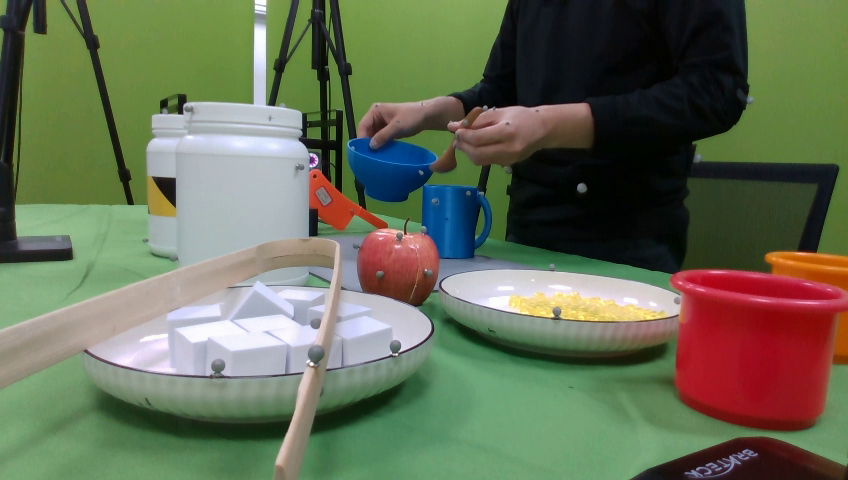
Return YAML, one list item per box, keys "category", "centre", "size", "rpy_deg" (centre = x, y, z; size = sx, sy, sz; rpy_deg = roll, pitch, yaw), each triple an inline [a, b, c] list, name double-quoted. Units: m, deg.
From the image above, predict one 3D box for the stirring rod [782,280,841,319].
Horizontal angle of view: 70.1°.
- category: "stirring rod"
  centre: [0.344, 0.019, 0.460]
  size: [0.014, 0.006, 0.176]
  rpy_deg: [-13, -27, -30]

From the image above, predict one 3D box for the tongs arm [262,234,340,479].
- category: "tongs arm"
  centre: [-0.074, 0.039, 0.349]
  size: [0.051, 0.026, 0.384]
  rpy_deg: [-2, 10, -3]

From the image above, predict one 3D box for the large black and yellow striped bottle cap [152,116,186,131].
- category: "large black and yellow striped bottle cap"
  centre: [-0.309, -0.155, 0.826]
  size: [0.115, 0.019, 0.115]
  rpy_deg: [3, 6, 0]

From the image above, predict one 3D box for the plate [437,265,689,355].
- category: "plate"
  centre: [0.114, 0.057, 0.517]
  size: [0.209, 0.038, 0.209]
  rpy_deg: [3, 8, 0]

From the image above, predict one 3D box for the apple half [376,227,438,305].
- category: "apple half"
  centre: [-0.017, 0.026, 0.593]
  size: [0.080, 0.074, 0.053]
  rpy_deg: [4, 2, 43]

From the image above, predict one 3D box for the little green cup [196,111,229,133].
- category: "little green cup"
  centre: [-0.403, -0.225, 1.154]
  size: [0.061, 0.038, 0.061]
  rpy_deg: [3, 8, 0]

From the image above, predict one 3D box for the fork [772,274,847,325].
- category: "fork"
  centre: [0.332, 0.018, 0.443]
  size: [0.028, 0.018, 0.207]
  rpy_deg: [-1, -36, -15]

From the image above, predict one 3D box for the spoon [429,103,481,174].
- category: "spoon"
  centre: [0.042, -0.135, 0.827]
  size: [0.042, 0.021, 0.193]
  rpy_deg: [2, -23, -12]

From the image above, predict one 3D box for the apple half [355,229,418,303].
- category: "apple half"
  centre: [-0.043, 0.027, 0.564]
  size: [0.081, 0.081, 0.033]
  rpy_deg: [9, 5, 42]

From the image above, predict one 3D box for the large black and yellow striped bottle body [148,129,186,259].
- category: "large black and yellow striped bottle body"
  centre: [-0.310, -0.073, 0.838]
  size: [0.131, 0.184, 0.130]
  rpy_deg: [2, 8, 0]

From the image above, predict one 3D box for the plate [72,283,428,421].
- category: "plate"
  centre: [-0.102, 0.066, 0.381]
  size: [0.208, 0.039, 0.207]
  rpy_deg: [2, 7, 0]

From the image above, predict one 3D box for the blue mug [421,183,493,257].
- category: "blue mug"
  centre: [0.052, -0.032, 0.912]
  size: [0.117, 0.106, 0.082]
  rpy_deg: [-1, 8, -24]

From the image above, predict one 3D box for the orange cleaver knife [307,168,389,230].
- category: "orange cleaver knife"
  centre: [-0.158, -0.060, 1.166]
  size: [0.212, 0.077, 0.012]
  rpy_deg: [34, -13, -32]

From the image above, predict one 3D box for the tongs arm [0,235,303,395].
- category: "tongs arm"
  centre: [-0.157, 0.038, 0.351]
  size: [0.028, 0.028, 0.388]
  rpy_deg: [-3, 9, 12]

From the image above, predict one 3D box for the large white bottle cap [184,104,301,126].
- category: "large white bottle cap"
  centre: [-0.184, -0.126, 0.618]
  size: [0.115, 0.018, 0.115]
  rpy_deg: [2, 8, 0]

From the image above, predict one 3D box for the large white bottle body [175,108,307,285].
- category: "large white bottle body"
  centre: [-0.188, -0.042, 0.630]
  size: [0.131, 0.184, 0.130]
  rpy_deg: [2, 8, 0]

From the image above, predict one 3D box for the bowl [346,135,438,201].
- category: "bowl"
  centre: [-0.057, -0.113, 0.991]
  size: [0.151, 0.077, 0.151]
  rpy_deg: [9, 23, -3]
